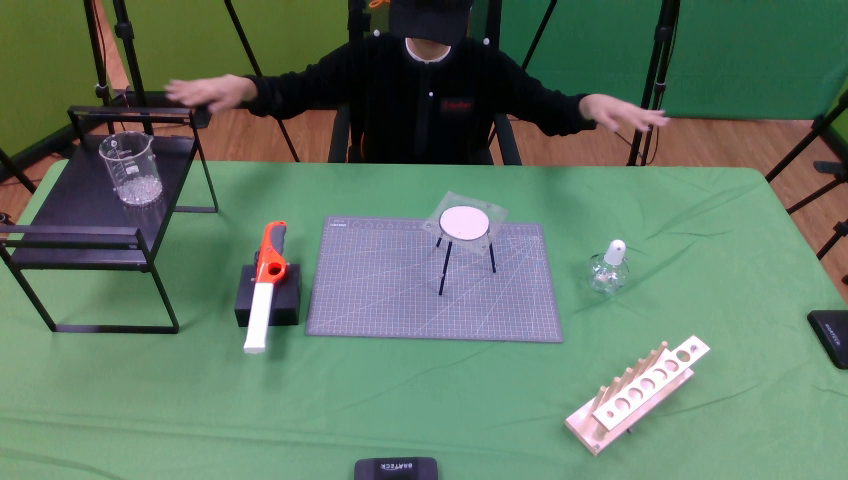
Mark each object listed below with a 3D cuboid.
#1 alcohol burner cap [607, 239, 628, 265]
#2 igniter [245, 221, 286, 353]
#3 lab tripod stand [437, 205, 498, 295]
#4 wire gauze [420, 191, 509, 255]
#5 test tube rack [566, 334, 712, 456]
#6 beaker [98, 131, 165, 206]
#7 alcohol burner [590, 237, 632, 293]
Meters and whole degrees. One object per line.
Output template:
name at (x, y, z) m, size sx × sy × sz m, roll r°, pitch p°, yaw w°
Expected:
alcohol burner cap at (0.351, 0.019, 1.091) m, size 0.034 × 0.048 × 0.033 m, roll 2°, pitch 45°, yaw -1°
igniter at (-0.270, 0.070, 1.040) m, size 0.057 × 0.025 × 0.274 m, roll 2°, pitch 48°, yaw -6°
lab tripod stand at (0.066, 0.010, 1.107) m, size 0.148 × 0.132 × 0.147 m, roll 0°, pitch 46°, yaw 0°
wire gauze at (0.072, -0.035, 1.058) m, size 0.125 × 0.011 × 0.121 m, roll 21°, pitch 48°, yaw 18°
test tube rack at (0.339, 0.228, 0.950) m, size 0.242 × 0.085 × 0.066 m, roll -26°, pitch 52°, yaw -26°
beaker at (-0.460, -0.112, 0.967) m, size 0.073 × 0.101 × 0.084 m, roll 37°, pitch 54°, yaw 28°
alcohol burner at (0.348, 0.040, 1.114) m, size 0.078 × 0.119 × 0.077 m, roll 3°, pitch 44°, yaw -2°
